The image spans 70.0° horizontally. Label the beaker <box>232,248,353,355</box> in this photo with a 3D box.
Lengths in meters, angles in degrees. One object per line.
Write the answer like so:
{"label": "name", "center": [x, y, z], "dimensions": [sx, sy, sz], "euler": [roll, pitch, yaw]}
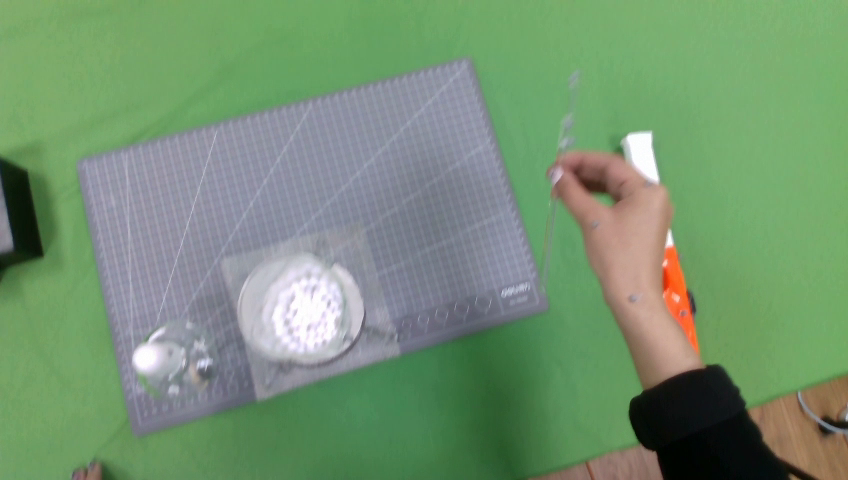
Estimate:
{"label": "beaker", "center": [-0.092, 0.054, 0.466], "dimensions": [0.084, 0.100, 0.074], "euler": [41, 81, 6]}

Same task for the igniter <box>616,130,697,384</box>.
{"label": "igniter", "center": [0.252, 0.015, 0.657], "dimensions": [0.057, 0.025, 0.275], "euler": [-7, 81, -14]}

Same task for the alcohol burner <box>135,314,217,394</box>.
{"label": "alcohol burner", "center": [-0.242, 0.108, 0.577], "dimensions": [0.078, 0.119, 0.077], "euler": [0, 78, -2]}

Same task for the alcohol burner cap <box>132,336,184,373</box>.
{"label": "alcohol burner cap", "center": [-0.241, 0.102, 0.542], "dimensions": [0.034, 0.048, 0.033], "euler": [0, 77, 1]}

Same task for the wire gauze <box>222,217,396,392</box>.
{"label": "wire gauze", "center": [-0.099, 0.053, 0.515], "dimensions": [0.125, 0.011, 0.121], "euler": [-17, 80, -2]}

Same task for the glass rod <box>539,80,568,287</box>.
{"label": "glass rod", "center": [0.109, -0.038, 0.515], "dimensions": [0.008, 0.008, 0.201], "euler": [-4, 125, -3]}

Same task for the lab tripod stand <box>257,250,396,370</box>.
{"label": "lab tripod stand", "center": [-0.101, 0.068, 0.579], "dimensions": [0.148, 0.132, 0.148], "euler": [0, 80, 0]}
